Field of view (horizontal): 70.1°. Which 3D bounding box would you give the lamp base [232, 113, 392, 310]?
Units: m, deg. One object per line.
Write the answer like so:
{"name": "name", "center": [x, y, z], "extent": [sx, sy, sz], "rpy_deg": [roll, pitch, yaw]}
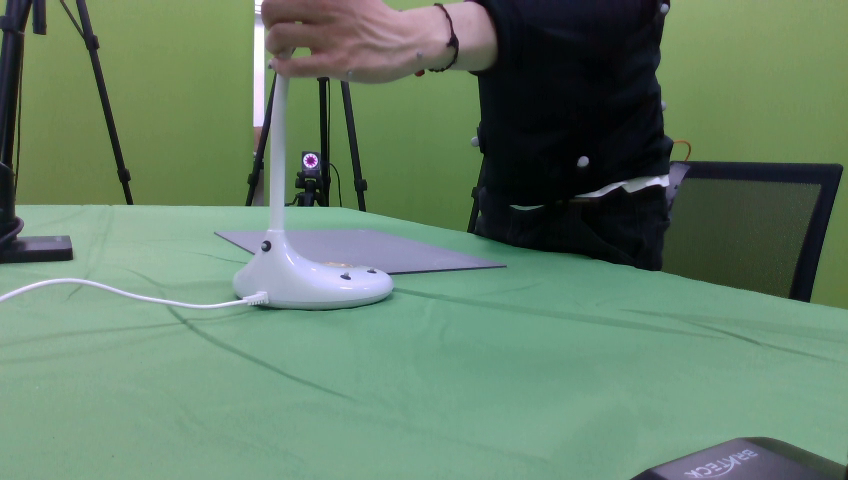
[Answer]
{"name": "lamp base", "center": [-0.113, -0.031, 0.594], "extent": [0.160, 0.180, 0.179], "rpy_deg": [4, 10, 18]}
